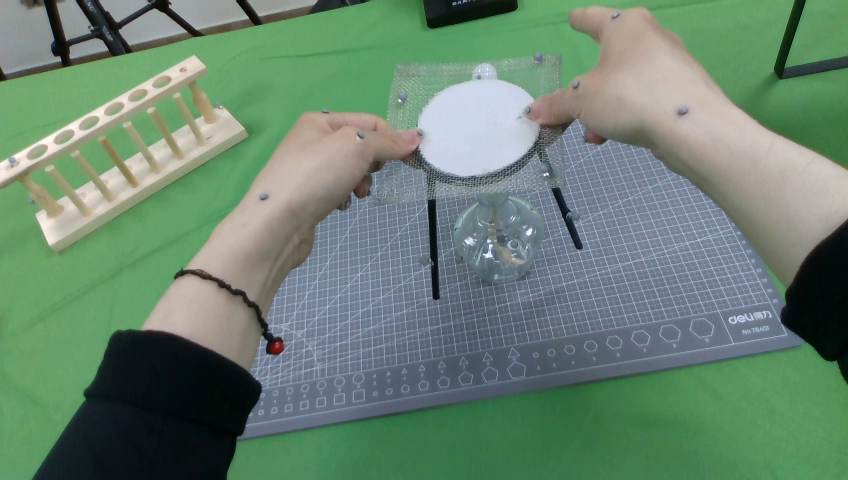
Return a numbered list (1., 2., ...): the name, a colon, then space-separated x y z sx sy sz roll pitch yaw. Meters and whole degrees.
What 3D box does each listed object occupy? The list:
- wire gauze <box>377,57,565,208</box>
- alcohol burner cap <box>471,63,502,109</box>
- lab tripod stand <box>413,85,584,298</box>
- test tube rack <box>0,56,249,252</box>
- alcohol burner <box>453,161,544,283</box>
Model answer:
1. wire gauze: 0.032 -0.078 0.411 0.121 0.011 0.124 -1 61 12
2. alcohol burner cap: 0.069 -0.173 0.672 0.034 0.048 0.033 -7 52 9
3. lab tripod stand: 0.047 -0.035 0.463 0.148 0.133 0.147 -6 57 10
4. test tube rack: -0.328 -0.098 0.672 0.242 0.086 0.066 -36 54 -16
5. alcohol burner: 0.059 -0.018 0.501 0.078 0.120 0.077 -7 49 9
